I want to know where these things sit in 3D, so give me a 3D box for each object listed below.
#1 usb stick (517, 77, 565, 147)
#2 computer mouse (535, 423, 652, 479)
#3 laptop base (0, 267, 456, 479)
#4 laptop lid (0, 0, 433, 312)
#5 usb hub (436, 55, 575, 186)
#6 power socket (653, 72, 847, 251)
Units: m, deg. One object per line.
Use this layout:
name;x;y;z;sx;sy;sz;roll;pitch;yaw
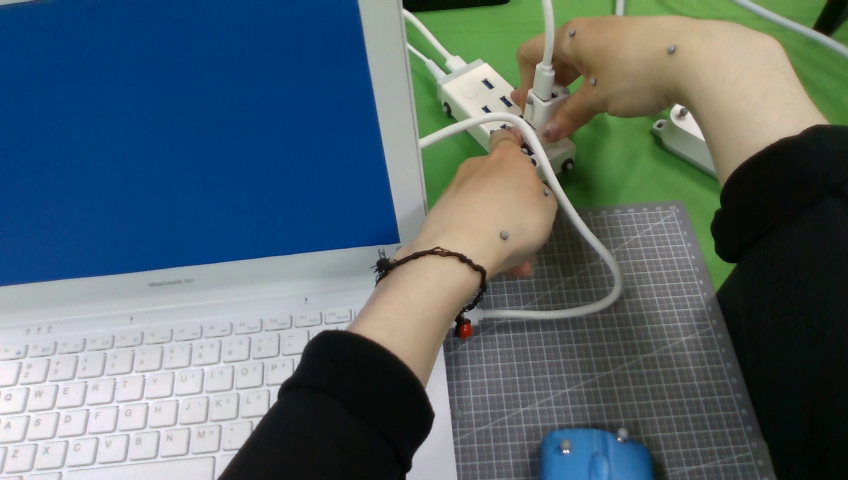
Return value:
usb stick;0.085;-0.092;0.450;0.027;0.059;0.021;-37;71;-13
computer mouse;0.089;0.153;0.321;0.062;0.041;0.116;6;54;10
laptop base;-0.158;0.138;0.363;0.354;0.023;0.233;-6;61;0
laptop lid;-0.178;-0.046;0.341;0.357;0.244;0.013;-7;44;1
usb hub;0.063;-0.100;0.493;0.049;0.025;0.124;-30;60;-15
power socket;0.280;-0.051;0.442;0.072;0.033;0.225;-41;63;-20
